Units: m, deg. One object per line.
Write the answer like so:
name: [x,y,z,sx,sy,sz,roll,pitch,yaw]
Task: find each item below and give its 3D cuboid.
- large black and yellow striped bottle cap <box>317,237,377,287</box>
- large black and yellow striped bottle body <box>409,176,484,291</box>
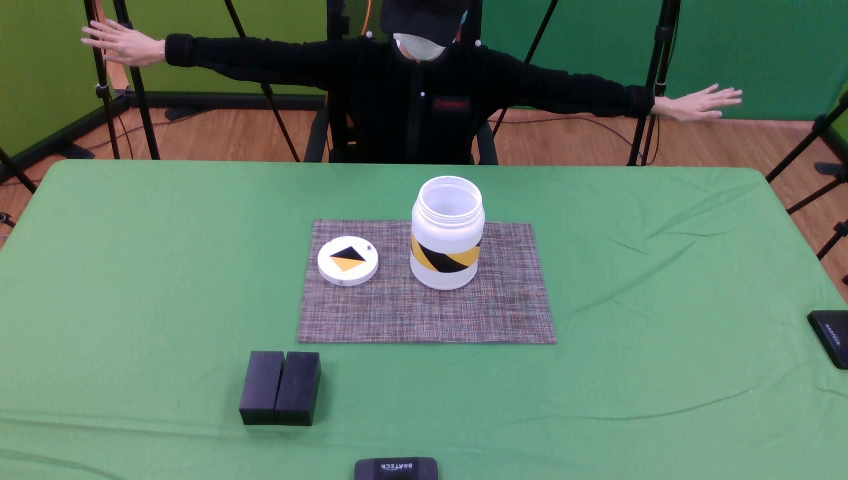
large black and yellow striped bottle cap: [-0.146,0.040,1.148,0.115,0.019,0.114,2,47,-2]
large black and yellow striped bottle body: [0.040,-0.012,1.095,0.131,0.185,0.130,2,46,-2]
